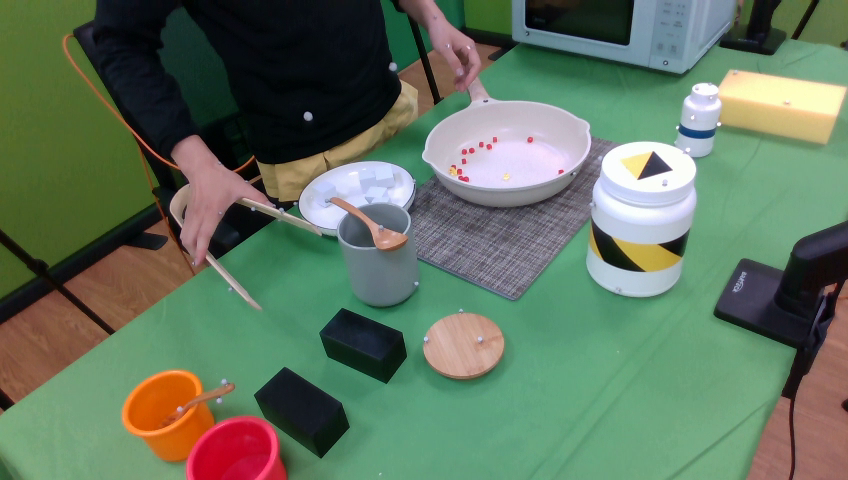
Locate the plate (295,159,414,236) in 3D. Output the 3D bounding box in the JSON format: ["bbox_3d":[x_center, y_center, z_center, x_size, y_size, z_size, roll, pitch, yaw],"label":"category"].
[{"bbox_3d":[-0.118,-0.070,1.055,0.207,0.039,0.206,-5,39,5],"label":"plate"}]

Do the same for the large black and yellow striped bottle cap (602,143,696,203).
[{"bbox_3d":[0.289,-0.088,0.779,0.115,0.019,0.114,-5,39,4],"label":"large black and yellow striped bottle cap"}]

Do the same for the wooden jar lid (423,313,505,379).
[{"bbox_3d":[0.053,0.142,0.800,0.108,0.021,0.108,-5,39,4],"label":"wooden jar lid"}]

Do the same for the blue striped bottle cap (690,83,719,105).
[{"bbox_3d":[0.481,-0.251,1.038,0.044,0.021,0.044,-5,40,5],"label":"blue striped bottle cap"}]

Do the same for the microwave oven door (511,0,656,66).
[{"bbox_3d":[0.350,-0.539,1.349,0.353,0.245,0.039,24,50,31],"label":"microwave oven door"}]

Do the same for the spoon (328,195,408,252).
[{"bbox_3d":[-0.083,-0.029,0.829,0.042,0.022,0.192,-35,44,-19],"label":"spoon"}]

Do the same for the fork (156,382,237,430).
[{"bbox_3d":[-0.262,0.189,0.690,0.206,0.018,0.028,-34,9,42],"label":"fork"}]

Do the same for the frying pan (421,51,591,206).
[{"bbox_3d":[0.127,-0.233,1.154,0.307,0.103,0.484,-11,49,-5],"label":"frying pan"}]

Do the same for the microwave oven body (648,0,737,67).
[{"bbox_3d":[0.475,-0.602,1.411,0.438,0.261,0.327,23,50,32],"label":"microwave oven body"}]

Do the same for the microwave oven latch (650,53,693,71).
[{"bbox_3d":[0.531,-0.386,1.301,0.078,0.029,0.030,26,51,33],"label":"microwave oven latch"}]

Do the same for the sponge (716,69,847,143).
[{"bbox_3d":[0.663,-0.256,1.142,0.205,0.061,0.118,19,47,28],"label":"sponge"}]

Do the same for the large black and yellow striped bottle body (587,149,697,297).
[{"bbox_3d":[0.298,-0.026,0.835,0.131,0.185,0.130,-4,41,4],"label":"large black and yellow striped bottle body"}]

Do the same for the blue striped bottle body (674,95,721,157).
[{"bbox_3d":[0.486,-0.213,1.072,0.063,0.121,0.063,-4,41,4],"label":"blue striped bottle body"}]

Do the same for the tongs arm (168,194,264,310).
[{"bbox_3d":[-0.322,0.009,0.906,0.028,0.028,0.384,-53,44,-3],"label":"tongs arm"}]

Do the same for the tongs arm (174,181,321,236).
[{"bbox_3d":[-0.283,-0.044,0.920,0.381,0.027,0.051,21,73,44],"label":"tongs arm"}]

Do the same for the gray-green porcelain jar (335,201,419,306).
[{"bbox_3d":[-0.064,0.024,0.872,0.106,0.127,0.105,-4,41,4],"label":"gray-green porcelain jar"}]
